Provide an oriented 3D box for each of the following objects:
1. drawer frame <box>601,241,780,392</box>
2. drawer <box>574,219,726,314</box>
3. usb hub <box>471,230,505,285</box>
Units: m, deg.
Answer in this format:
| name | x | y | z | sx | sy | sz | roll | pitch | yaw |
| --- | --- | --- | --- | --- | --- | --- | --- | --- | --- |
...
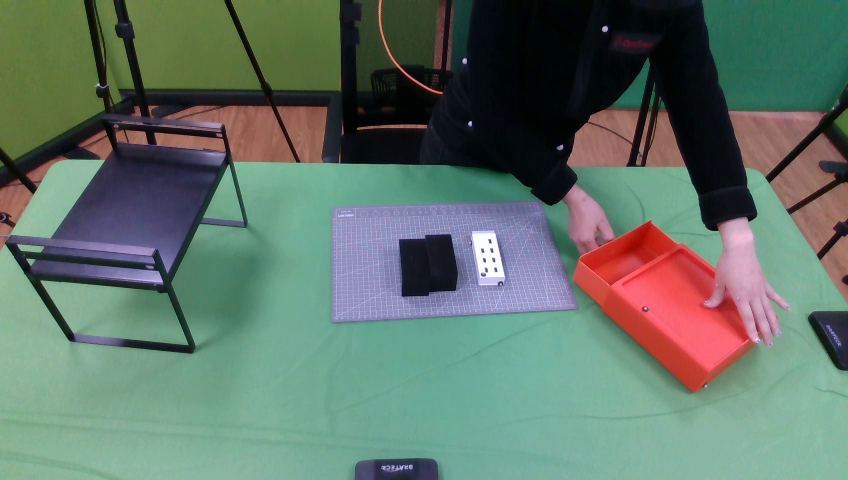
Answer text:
| name | x | y | z | sx | sy | sz | roll | pitch | yaw |
| --- | --- | --- | --- | --- | --- | --- | --- | --- | --- |
| drawer frame | 0.462 | 0.125 | 1.065 | 0.202 | 0.083 | 0.212 | -26 | 54 | -26 |
| drawer | 0.418 | 0.079 | 1.108 | 0.194 | 0.073 | 0.210 | -24 | 52 | -25 |
| usb hub | 0.122 | 0.033 | 1.168 | 0.049 | 0.025 | 0.124 | -1 | 46 | -5 |
